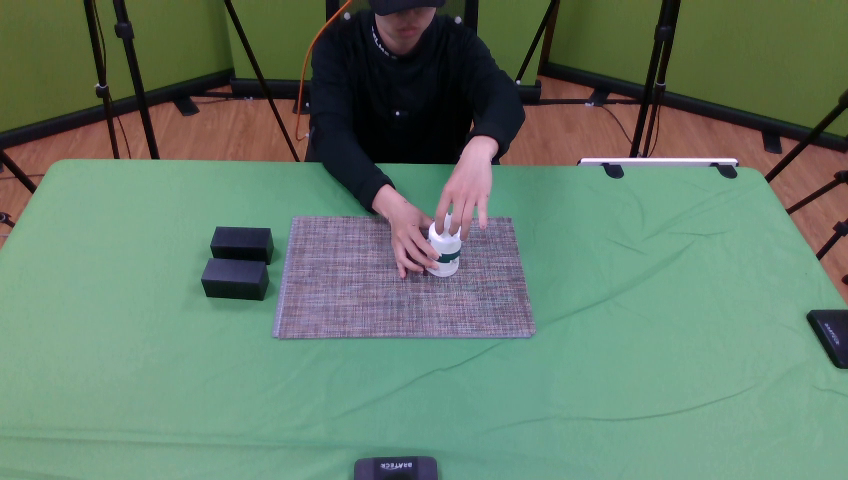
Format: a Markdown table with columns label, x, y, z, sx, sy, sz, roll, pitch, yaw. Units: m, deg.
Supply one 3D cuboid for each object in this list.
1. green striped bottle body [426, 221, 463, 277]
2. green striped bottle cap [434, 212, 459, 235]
| label | x | y | z | sx | sy | sz | roll | pitch | yaw |
| --- | --- | --- | --- | --- | --- | --- | --- | --- | --- |
| green striped bottle body | 0.037 | 0.008 | 1.121 | 0.063 | 0.120 | 0.063 | 2 | 46 | -2 |
| green striped bottle cap | 0.041 | -0.030 | 1.082 | 0.044 | 0.020 | 0.044 | 2 | 46 | -2 |
